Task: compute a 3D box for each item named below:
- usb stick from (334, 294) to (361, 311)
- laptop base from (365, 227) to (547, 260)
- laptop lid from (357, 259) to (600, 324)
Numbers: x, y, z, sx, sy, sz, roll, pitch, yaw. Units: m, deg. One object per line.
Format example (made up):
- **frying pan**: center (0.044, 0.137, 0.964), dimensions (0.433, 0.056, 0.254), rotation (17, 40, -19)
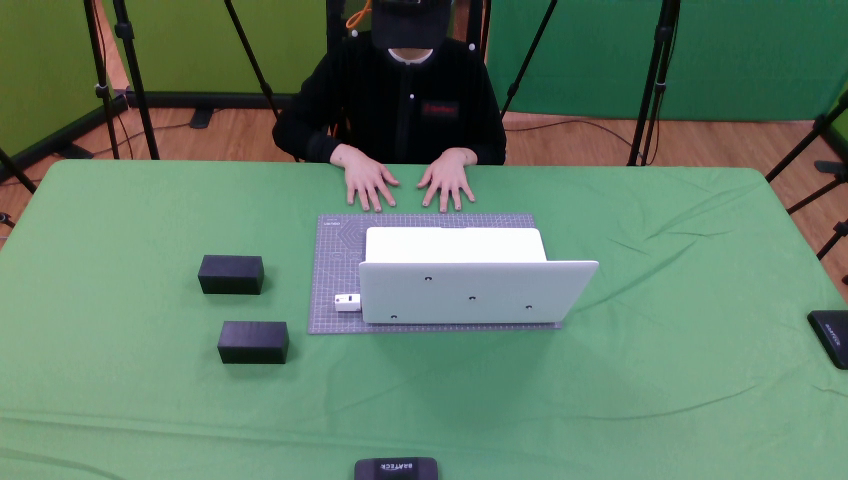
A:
- **usb stick**: center (-0.128, 0.111, 1.066), dimensions (0.059, 0.027, 0.021), rotation (2, 45, -5)
- **laptop base**: center (0.064, 0.062, 1.144), dimensions (0.355, 0.023, 0.234), rotation (0, 43, -4)
- **laptop lid**: center (0.075, 0.087, 0.959), dimensions (0.357, 0.242, 0.013), rotation (1, 60, -5)
